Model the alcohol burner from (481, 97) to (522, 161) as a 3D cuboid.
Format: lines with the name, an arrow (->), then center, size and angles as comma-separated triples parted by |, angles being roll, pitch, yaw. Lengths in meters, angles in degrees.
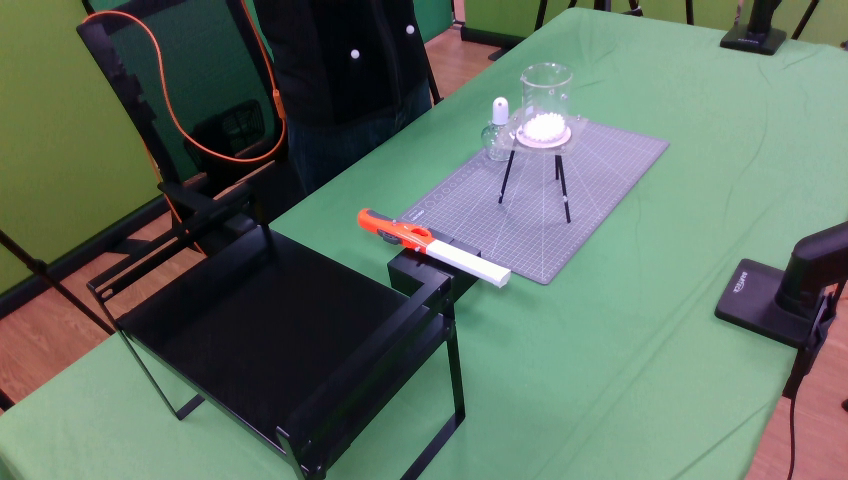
alcohol burner -> 0.143, -0.208, 1.124 | 0.078, 0.119, 0.077 | -6, 39, 5

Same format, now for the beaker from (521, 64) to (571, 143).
beaker -> 0.187, -0.208, 0.924 | 0.073, 0.101, 0.084 | 23, 49, 30

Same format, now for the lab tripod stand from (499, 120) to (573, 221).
lab tripod stand -> 0.198, -0.117, 0.992 | 0.148, 0.132, 0.147 | -3, 40, 3

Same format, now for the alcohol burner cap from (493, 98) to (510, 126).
alcohol burner cap -> 0.140, -0.236, 1.101 | 0.034, 0.048, 0.033 | -5, 37, 4

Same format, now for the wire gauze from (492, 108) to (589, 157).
wire gauze -> 0.185, -0.169, 0.953 | 0.121, 0.011, 0.125 | 13, 46, 22

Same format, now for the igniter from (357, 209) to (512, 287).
igniter -> 0.004, 0.006, 0.891 | 0.274, 0.025, 0.057 | 23, 38, 30
